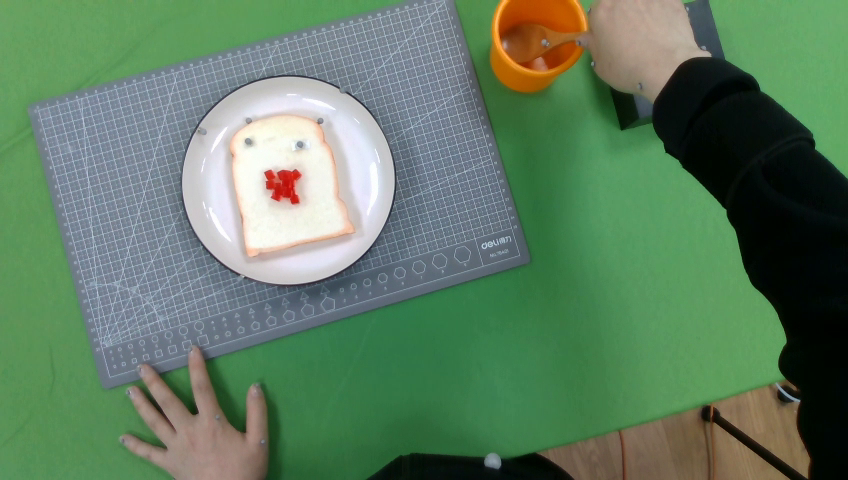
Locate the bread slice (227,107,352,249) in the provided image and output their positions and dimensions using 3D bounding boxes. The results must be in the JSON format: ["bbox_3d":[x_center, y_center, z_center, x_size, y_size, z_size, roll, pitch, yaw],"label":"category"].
[{"bbox_3d":[-0.141,-0.065,0.605,0.107,0.018,0.134,-16,88,-4],"label":"bread slice"}]

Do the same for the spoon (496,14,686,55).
[{"bbox_3d":[0.145,-0.194,0.560,0.022,0.192,0.041,12,93,-43],"label":"spoon"}]

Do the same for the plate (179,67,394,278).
[{"bbox_3d":[-0.133,-0.065,0.605,0.209,0.038,0.208,0,87,-2],"label":"plate"}]
